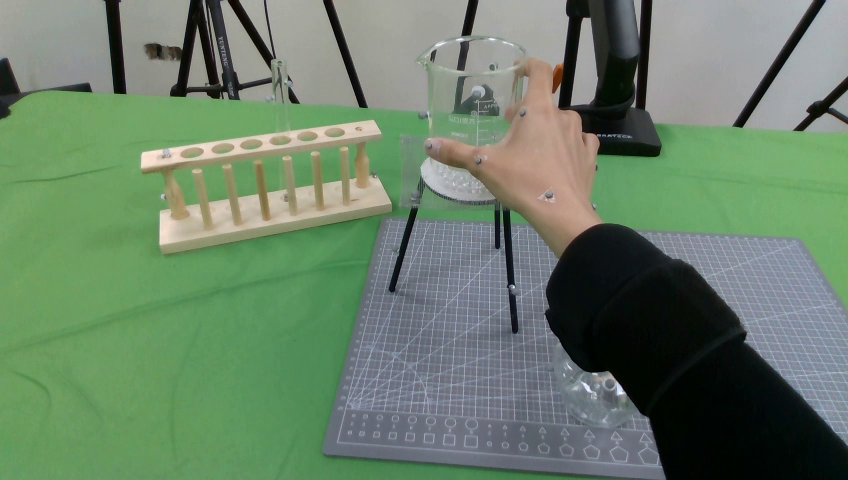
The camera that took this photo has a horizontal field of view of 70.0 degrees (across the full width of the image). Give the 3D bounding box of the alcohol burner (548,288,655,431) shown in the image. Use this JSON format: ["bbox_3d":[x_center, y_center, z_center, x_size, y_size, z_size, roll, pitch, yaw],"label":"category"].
[{"bbox_3d":[0.132,0.083,0.443,0.078,0.120,0.077,1,36,0],"label":"alcohol burner"}]

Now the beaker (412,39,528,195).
[{"bbox_3d":[0.033,-0.092,0.466,0.084,0.101,0.073,4,38,7],"label":"beaker"}]

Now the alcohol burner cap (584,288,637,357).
[{"bbox_3d":[0.131,0.054,0.421,0.034,0.048,0.033,0,39,1],"label":"alcohol burner cap"}]

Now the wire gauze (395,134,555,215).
[{"bbox_3d":[0.037,-0.055,0.498,0.125,0.011,0.120,-2,35,1],"label":"wire gauze"}]

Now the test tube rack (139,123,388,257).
[{"bbox_3d":[-0.165,-0.057,0.649,0.243,0.086,0.066,-11,39,-15],"label":"test tube rack"}]

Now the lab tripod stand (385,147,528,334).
[{"bbox_3d":[0.037,-0.003,0.538,0.148,0.132,0.147,0,39,1],"label":"lab tripod stand"}]

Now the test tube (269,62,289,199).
[{"bbox_3d":[-0.152,-0.110,0.637,0.017,0.151,0.017,4,32,-2],"label":"test tube"}]
